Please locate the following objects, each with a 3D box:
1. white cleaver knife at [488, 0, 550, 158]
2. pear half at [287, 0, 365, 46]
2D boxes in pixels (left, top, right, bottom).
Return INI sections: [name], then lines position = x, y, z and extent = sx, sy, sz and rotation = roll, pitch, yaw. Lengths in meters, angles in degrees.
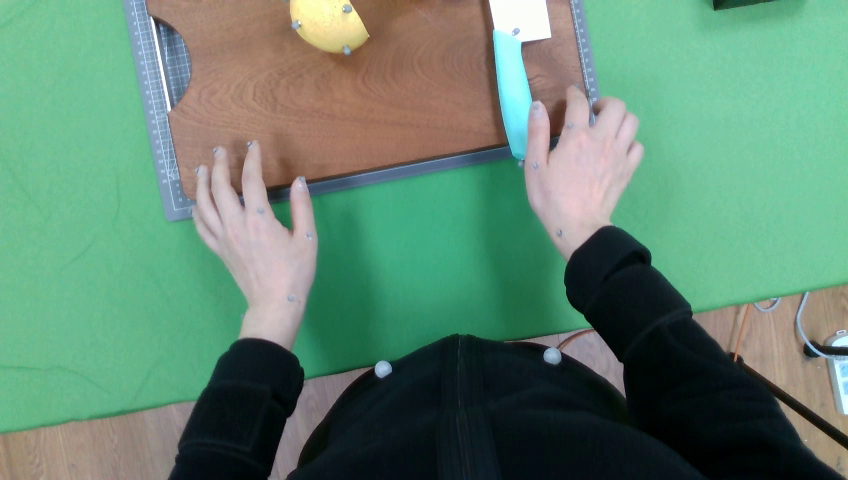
[white cleaver knife]
position = 0.088, -0.220, 0.574
extent = 0.066, 0.021, 0.286
rotation = -11, 93, -10
[pear half]
position = -0.091, -0.207, 0.526
extent = 0.056, 0.110, 0.076
rotation = -41, 87, -1
